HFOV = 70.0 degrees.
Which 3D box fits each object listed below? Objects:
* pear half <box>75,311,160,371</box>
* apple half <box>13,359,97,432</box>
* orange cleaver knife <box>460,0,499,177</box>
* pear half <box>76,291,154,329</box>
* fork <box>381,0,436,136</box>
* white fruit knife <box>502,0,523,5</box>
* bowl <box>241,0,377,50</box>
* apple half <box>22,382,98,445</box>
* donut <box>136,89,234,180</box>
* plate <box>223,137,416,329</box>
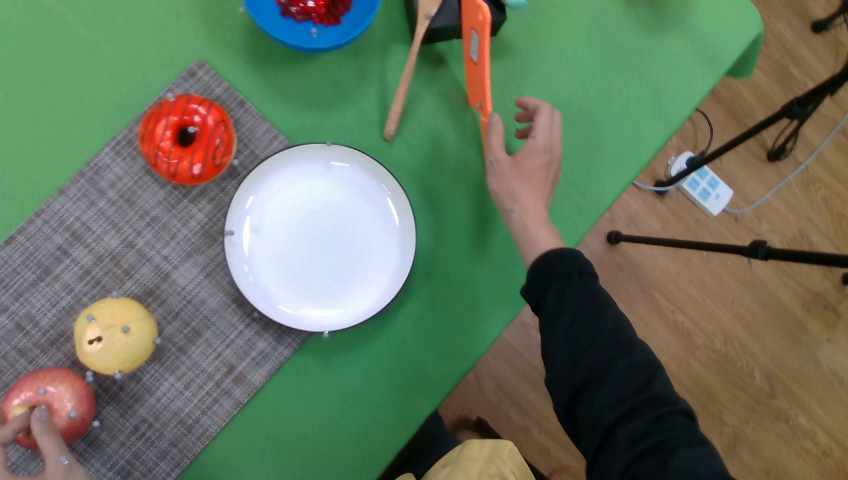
[{"bbox_3d":[-0.304,0.102,0.597,0.076,0.110,0.056,-17,89,-7],"label":"pear half"},{"bbox_3d":[-0.372,0.152,0.603,0.053,0.074,0.081,27,90,-5],"label":"apple half"},{"bbox_3d":[0.062,-0.177,0.690,0.012,0.076,0.213,-16,119,-12],"label":"orange cleaver knife"},{"bbox_3d":[-0.314,0.069,0.607,0.070,0.088,0.031,-18,89,-5],"label":"pear half"},{"bbox_3d":[-0.014,-0.216,0.677,0.028,0.018,0.208,14,105,-15],"label":"fork"},{"bbox_3d":[0.033,-0.339,0.677,0.207,0.016,0.027,45,52,-3],"label":"white fruit knife"},{"bbox_3d":[-0.126,-0.274,0.665,0.152,0.076,0.151,0,88,-10],"label":"bowl"},{"bbox_3d":[-0.351,0.178,0.604,0.081,0.081,0.033,-44,91,-9],"label":"apple half"},{"bbox_3d":[-0.254,-0.112,0.649,0.099,0.048,0.099,0,90,-8],"label":"donut"},{"bbox_3d":[-0.113,-0.008,0.671,0.210,0.038,0.208,1,87,-10],"label":"plate"}]
